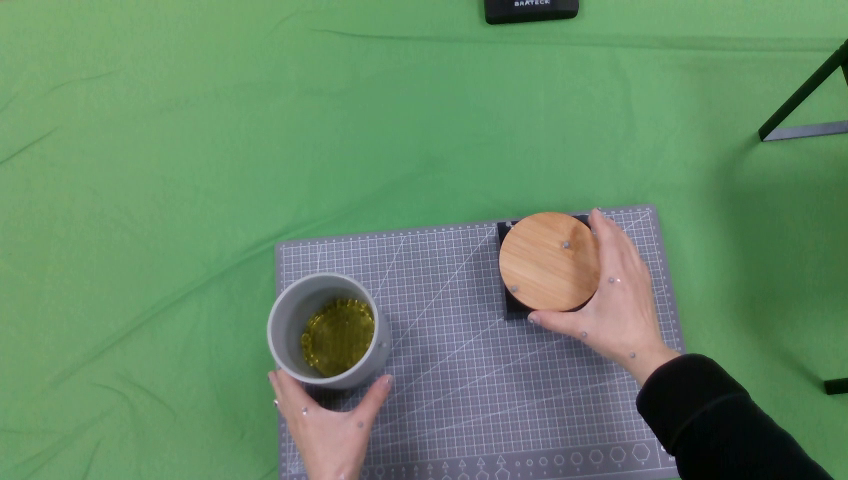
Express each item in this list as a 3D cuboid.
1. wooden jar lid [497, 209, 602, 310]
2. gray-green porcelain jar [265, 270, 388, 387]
[{"bbox_3d":[0.131,0.022,0.635,0.108,0.021,0.108,-1,75,4],"label":"wooden jar lid"},{"bbox_3d":[-0.093,0.096,0.621,0.106,0.127,0.105,-1,73,2],"label":"gray-green porcelain jar"}]
